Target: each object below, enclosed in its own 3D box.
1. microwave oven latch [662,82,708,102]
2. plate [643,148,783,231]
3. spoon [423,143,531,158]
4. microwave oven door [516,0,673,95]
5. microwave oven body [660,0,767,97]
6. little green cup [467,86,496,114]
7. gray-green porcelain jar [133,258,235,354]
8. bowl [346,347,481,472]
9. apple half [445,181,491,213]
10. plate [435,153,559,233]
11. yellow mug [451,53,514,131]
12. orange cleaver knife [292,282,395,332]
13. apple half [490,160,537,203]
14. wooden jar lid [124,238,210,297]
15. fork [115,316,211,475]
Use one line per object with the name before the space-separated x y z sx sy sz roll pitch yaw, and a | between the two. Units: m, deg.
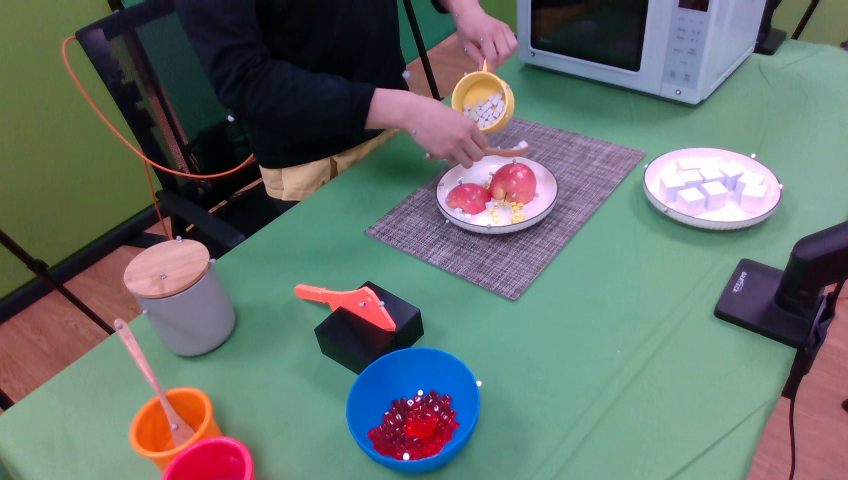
microwave oven latch | 0.518 -0.298 1.203 0.078 0.029 0.030 28 53 35
plate | 0.464 -0.080 0.986 0.207 0.039 0.206 -4 41 4
spoon | 0.086 -0.141 0.956 0.195 0.021 0.041 -5 1 -24
microwave oven door | 0.344 -0.458 1.257 0.353 0.245 0.039 26 51 33
microwave oven body | 0.474 -0.517 1.313 0.438 0.261 0.327 26 51 34
little green cup | 0.123 -0.297 1.285 0.061 0.039 0.061 -6 41 6
gray-green porcelain jar | -0.327 0.086 0.836 0.106 0.127 0.105 -4 41 4
bowl | -0.008 0.205 0.691 0.151 0.077 0.150 -4 40 4
apple half | 0.076 -0.083 1.030 0.081 0.033 0.081 -1 42 2
plate | 0.124 -0.078 1.026 0.209 0.038 0.208 -4 40 4
yellow mug | 0.105 -0.259 1.054 0.099 0.131 0.064 9 9 15
orange cleaver knife | -0.116 0.091 0.835 0.209 0.077 0.012 2 32 48
apple half | 0.154 -0.106 1.030 0.080 0.053 0.075 22 47 31
wooden jar lid | -0.335 0.038 0.794 0.108 0.021 0.108 -2 40 2
fork | -0.308 0.179 0.708 0.028 0.018 0.207 -30 89 -22
